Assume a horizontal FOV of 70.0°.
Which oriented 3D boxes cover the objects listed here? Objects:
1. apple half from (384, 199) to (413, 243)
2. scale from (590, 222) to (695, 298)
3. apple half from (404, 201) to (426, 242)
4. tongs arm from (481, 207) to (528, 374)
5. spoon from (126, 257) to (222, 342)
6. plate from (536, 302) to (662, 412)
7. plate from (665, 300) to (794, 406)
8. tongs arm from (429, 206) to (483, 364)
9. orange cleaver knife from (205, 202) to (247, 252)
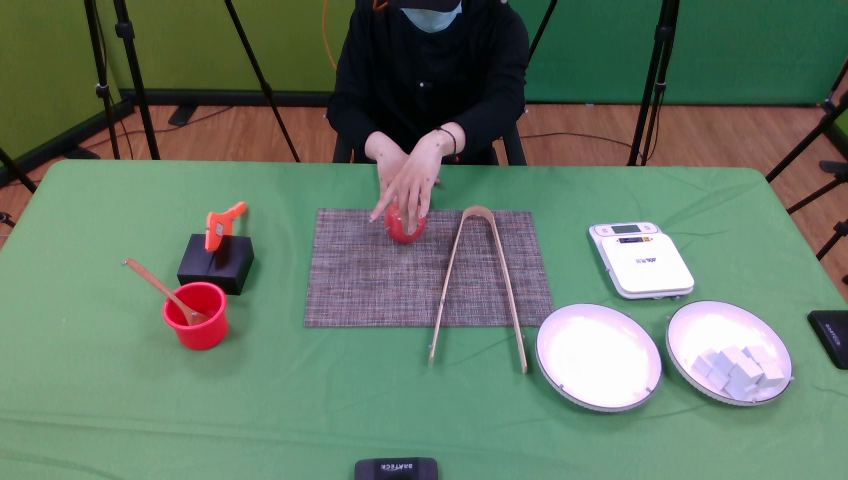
[{"bbox_3d":[-0.051,-0.039,1.178,0.053,0.075,0.080,13,51,12],"label":"apple half"},{"bbox_3d":[0.424,0.031,1.189,0.149,0.032,0.199,-3,46,-7],"label":"scale"},{"bbox_3d":[-0.014,-0.031,1.172,0.033,0.081,0.081,14,47,12],"label":"apple half"},{"bbox_3d":[0.149,0.077,1.124,0.028,0.028,0.385,-5,46,-2],"label":"tongs arm"},{"bbox_3d":[-0.408,0.096,0.990,0.194,0.021,0.041,50,52,-18],"label":"spoon"},{"bbox_3d":[0.288,0.197,1.016,0.209,0.038,0.208,2,46,-2],"label":"plate"},{"bbox_3d":[0.513,0.194,1.033,0.208,0.039,0.206,2,46,-2],"label":"plate"},{"bbox_3d":[0.065,0.069,1.124,0.051,0.026,0.382,8,45,5],"label":"tongs arm"},{"bbox_3d":[-0.374,-0.029,1.149,0.012,0.077,0.211,4,13,0],"label":"orange cleaver knife"}]
